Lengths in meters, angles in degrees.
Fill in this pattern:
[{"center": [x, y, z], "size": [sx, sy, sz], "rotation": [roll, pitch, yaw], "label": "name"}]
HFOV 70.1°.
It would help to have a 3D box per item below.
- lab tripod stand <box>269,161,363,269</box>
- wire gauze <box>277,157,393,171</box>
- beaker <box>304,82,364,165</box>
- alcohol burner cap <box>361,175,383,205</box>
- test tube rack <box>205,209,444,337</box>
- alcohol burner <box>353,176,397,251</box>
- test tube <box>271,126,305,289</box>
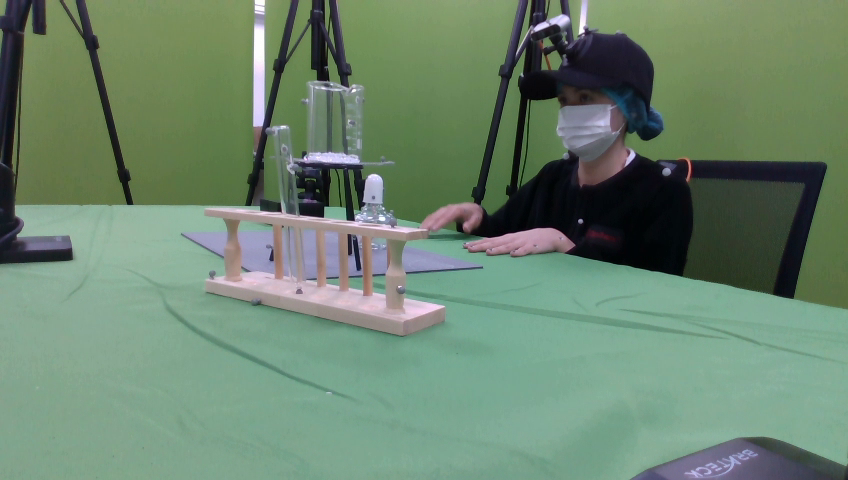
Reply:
[{"center": [-0.125, -0.036, 0.794], "size": [0.148, 0.131, 0.148], "rotation": [5, 7, 0], "label": "lab tripod stand"}, {"center": [-0.122, -0.100, 0.786], "size": [0.122, 0.011, 0.124], "rotation": [-5, 14, -38], "label": "wire gauze"}, {"center": [-0.115, -0.148, 0.779], "size": [0.074, 0.100, 0.083], "rotation": [-2, 10, -30], "label": "beaker"}, {"center": [-0.080, -0.078, 0.945], "size": [0.034, 0.048, 0.034], "rotation": [5, 7, 0], "label": "alcohol burner cap"}, {"center": [-0.100, 0.021, 0.565], "size": [0.241, 0.085, 0.067], "rotation": [7, 8, 32], "label": "test tube rack"}, {"center": [-0.082, -0.043, 0.950], "size": [0.078, 0.119, 0.078], "rotation": [1, 8, 0], "label": "alcohol burner"}, {"center": [-0.124, -0.028, 0.554], "size": [0.017, 0.150, 0.017], "rotation": [-5, 7, 1], "label": "test tube"}]
